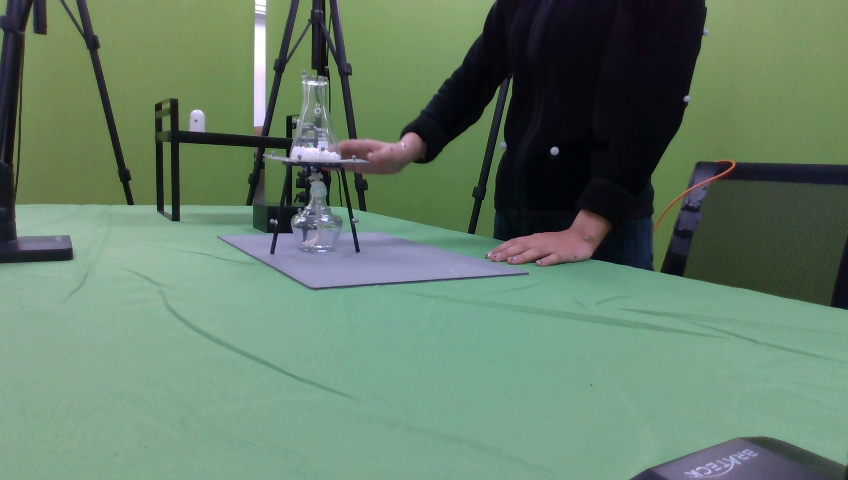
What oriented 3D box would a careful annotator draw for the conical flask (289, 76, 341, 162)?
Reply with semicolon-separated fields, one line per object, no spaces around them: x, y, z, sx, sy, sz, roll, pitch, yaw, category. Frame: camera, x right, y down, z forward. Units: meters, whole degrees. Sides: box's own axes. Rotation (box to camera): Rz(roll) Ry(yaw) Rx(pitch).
-0.159;-0.175;0.882;0.075;0.122;0.075;1;9;0;conical flask

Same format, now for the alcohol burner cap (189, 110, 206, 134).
-0.464;-0.242;1.240;0.034;0.048;0.034;3;6;0;alcohol burner cap

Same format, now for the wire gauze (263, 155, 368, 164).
-0.160;-0.116;0.888;0.122;0.011;0.124;-1;6;-32;wire gauze

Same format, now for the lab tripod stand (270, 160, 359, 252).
-0.167;-0.051;0.892;0.148;0.131;0.148;3;9;0;lab tripod stand

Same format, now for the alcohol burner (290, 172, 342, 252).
-0.159;-0.042;0.899;0.078;0.119;0.078;4;9;0;alcohol burner
